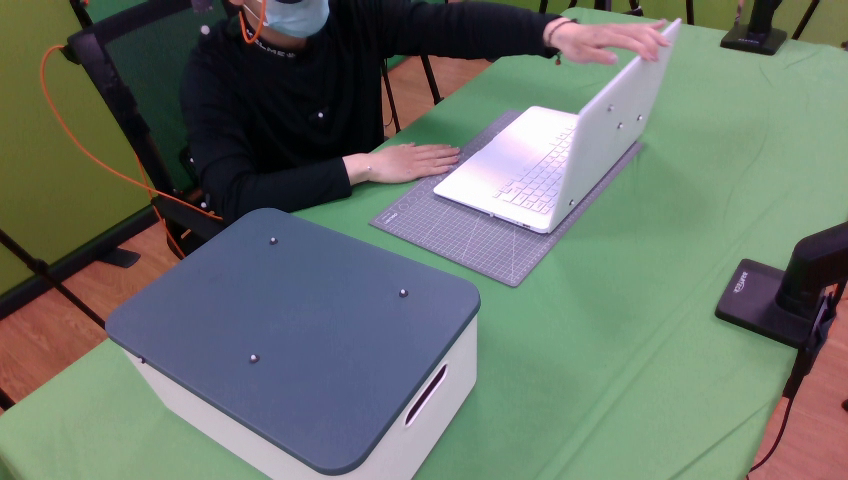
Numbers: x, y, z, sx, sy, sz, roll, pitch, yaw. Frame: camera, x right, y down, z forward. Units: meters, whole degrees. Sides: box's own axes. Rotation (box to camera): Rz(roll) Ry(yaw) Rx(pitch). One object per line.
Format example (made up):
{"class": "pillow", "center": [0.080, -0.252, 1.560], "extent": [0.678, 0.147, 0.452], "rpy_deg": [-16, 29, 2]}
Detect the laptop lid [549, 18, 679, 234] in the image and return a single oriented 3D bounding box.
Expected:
{"class": "laptop lid", "center": [0.306, -0.184, 0.964], "extent": [0.013, 0.242, 0.358], "rpy_deg": [30, 51, 24]}

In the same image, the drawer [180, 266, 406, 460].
{"class": "drawer", "center": [-0.162, 0.145, 0.772], "extent": [0.210, 0.073, 0.195], "rpy_deg": [22, 46, 32]}

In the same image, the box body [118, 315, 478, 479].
{"class": "box body", "center": [-0.140, 0.136, 0.725], "extent": [0.361, 0.161, 0.254], "rpy_deg": [19, 47, 28]}

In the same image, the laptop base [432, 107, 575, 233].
{"class": "laptop base", "center": [0.210, -0.142, 1.111], "extent": [0.233, 0.023, 0.355], "rpy_deg": [21, 48, 33]}

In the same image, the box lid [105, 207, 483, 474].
{"class": "box lid", "center": [-0.149, 0.079, 0.677], "extent": [0.369, 0.015, 0.264], "rpy_deg": [20, 46, 28]}

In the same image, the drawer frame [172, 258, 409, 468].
{"class": "drawer frame", "center": [-0.164, 0.142, 0.767], "extent": [0.212, 0.083, 0.202], "rpy_deg": [24, 51, 28]}
